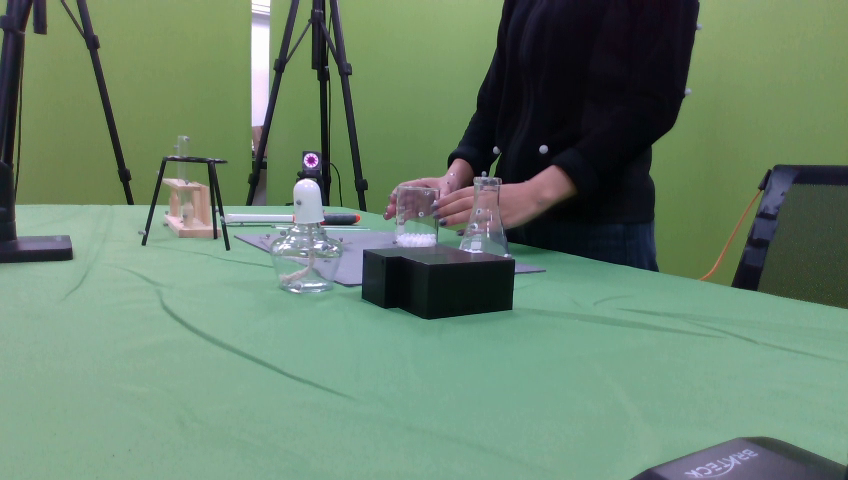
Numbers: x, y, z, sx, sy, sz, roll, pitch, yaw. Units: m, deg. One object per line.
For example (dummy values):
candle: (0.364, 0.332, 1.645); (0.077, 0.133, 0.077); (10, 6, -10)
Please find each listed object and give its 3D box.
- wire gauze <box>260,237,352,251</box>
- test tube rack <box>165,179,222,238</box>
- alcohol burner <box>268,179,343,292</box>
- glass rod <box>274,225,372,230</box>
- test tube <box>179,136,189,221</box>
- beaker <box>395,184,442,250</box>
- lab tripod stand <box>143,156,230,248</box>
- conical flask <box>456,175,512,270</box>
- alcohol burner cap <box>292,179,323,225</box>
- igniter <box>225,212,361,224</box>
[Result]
wire gauze: (-0.184, 0.004, 0.938); (0.122, 0.011, 0.124); (-1, 5, -24)
test tube rack: (-0.423, -0.062, 1.098); (0.067, 0.085, 0.241); (-2, 9, -28)
alcohol burner: (-0.124, -0.005, 0.637); (0.078, 0.119, 0.078); (4, 8, 0)
glass rod: (-0.193, -0.024, 1.176); (0.201, 0.008, 0.008); (1, 7, -31)
test tube: (-0.425, -0.108, 1.070); (0.017, 0.150, 0.017); (4, 9, 0)
beaker: (-0.009, -0.038, 0.968); (0.074, 0.100, 0.084); (6, 8, 21)
lab tripod stand: (-0.338, -0.058, 0.908); (0.148, 0.131, 0.148); (4, 7, 0)
conical flask: (0.082, -0.025, 0.801); (0.075, 0.122, 0.075); (2, 7, 0)
alcohol burner cap: (-0.124, -0.040, 0.632); (0.034, 0.048, 0.034); (-3, 10, 1)
igniter: (-0.262, -0.045, 1.240); (0.278, 0.025, 0.057); (-2, -1, -31)
